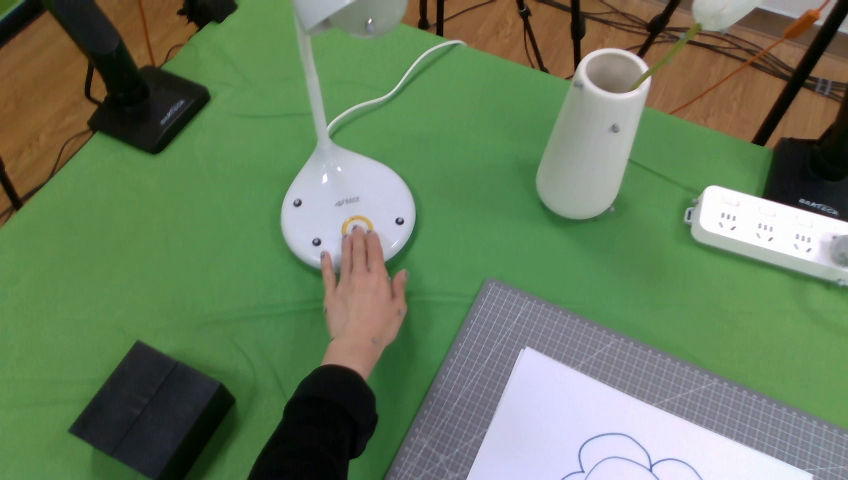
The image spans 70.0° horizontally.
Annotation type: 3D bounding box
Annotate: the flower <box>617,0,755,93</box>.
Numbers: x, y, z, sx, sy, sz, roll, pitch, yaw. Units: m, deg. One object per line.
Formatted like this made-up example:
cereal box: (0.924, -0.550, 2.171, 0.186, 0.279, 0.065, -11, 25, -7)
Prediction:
flower: (0.192, -0.141, 0.592, 0.044, 0.362, 0.038, -14, 77, -18)

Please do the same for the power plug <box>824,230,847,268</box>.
power plug: (0.453, 0.021, 0.662, 0.035, 0.053, 0.072, 27, 69, 16)

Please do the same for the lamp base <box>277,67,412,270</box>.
lamp base: (-0.101, -0.084, 0.663, 0.161, 0.182, 0.177, -26, 59, -15)

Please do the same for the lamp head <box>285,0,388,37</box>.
lamp head: (-0.061, -0.212, 0.402, 0.112, 0.112, 0.123, -33, 103, -18)

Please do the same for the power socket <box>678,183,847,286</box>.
power socket: (0.416, -0.007, 0.705, 0.226, 0.033, 0.072, 18, 61, 10)

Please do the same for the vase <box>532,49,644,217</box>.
vase: (0.178, -0.112, 0.670, 0.098, 0.201, 0.097, 0, 58, 1)
